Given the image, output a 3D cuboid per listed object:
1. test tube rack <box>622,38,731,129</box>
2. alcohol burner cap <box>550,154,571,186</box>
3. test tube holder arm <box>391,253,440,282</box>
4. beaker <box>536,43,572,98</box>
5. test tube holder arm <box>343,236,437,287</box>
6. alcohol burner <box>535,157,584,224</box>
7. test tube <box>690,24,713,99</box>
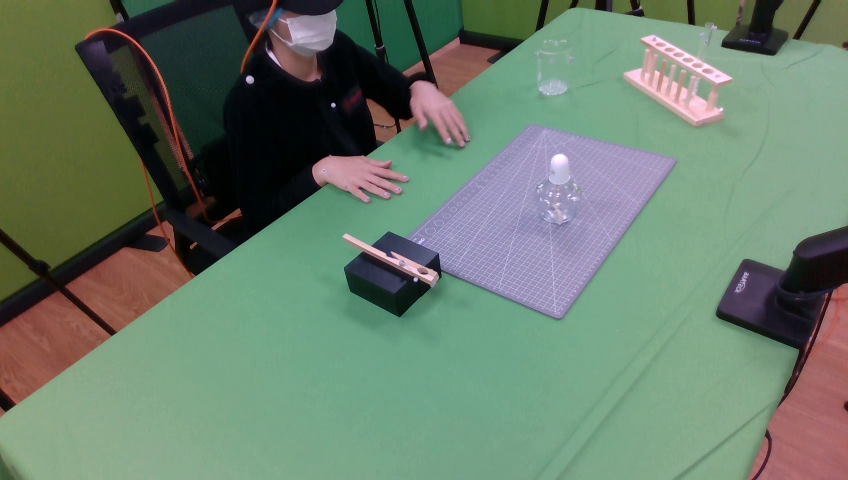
[{"bbox_3d":[0.506,-0.325,1.234,0.067,0.085,0.240,-18,41,-11],"label":"test tube rack"},{"bbox_3d":[0.212,-0.112,0.944,0.034,0.048,0.033,-7,44,7],"label":"alcohol burner cap"},{"bbox_3d":[-0.015,0.039,0.858,0.087,0.015,0.010,22,57,32],"label":"test tube holder arm"},{"bbox_3d":[0.280,-0.368,1.311,0.074,0.101,0.084,4,41,14],"label":"beaker"},{"bbox_3d":[-0.054,0.029,0.879,0.177,0.015,0.013,22,56,32],"label":"test tube holder arm"},{"bbox_3d":[0.217,-0.085,0.967,0.078,0.119,0.077,-3,41,3],"label":"alcohol burner"},{"bbox_3d":[0.534,-0.342,1.173,0.017,0.151,0.017,-3,41,3],"label":"test tube"}]
